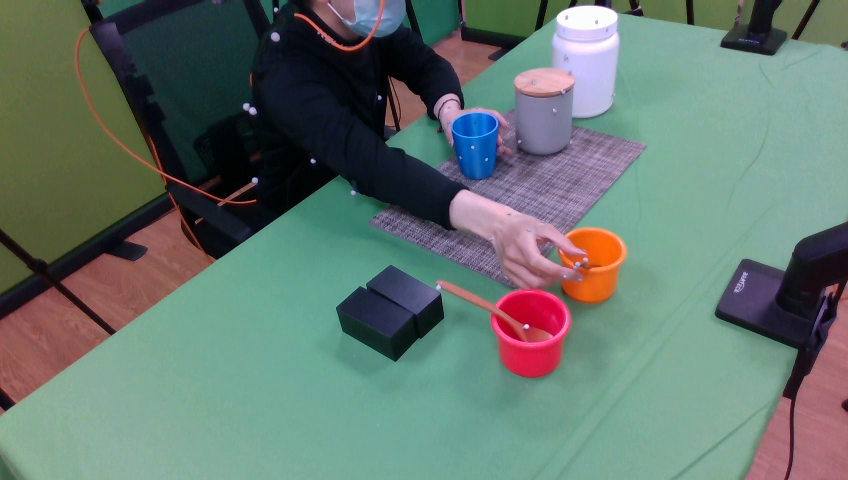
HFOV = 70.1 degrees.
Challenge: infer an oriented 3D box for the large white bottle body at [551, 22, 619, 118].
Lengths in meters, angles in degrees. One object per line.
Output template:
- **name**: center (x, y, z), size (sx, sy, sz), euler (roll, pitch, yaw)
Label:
- **large white bottle body**: center (0.321, -0.355, 1.218), size (0.130, 0.185, 0.130), euler (-4, 41, 4)

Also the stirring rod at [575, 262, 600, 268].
- **stirring rod**: center (0.222, 0.033, 0.816), size (0.014, 0.006, 0.177), euler (9, 1, 22)

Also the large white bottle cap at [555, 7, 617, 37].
- **large white bottle cap**: center (0.311, -0.420, 1.163), size (0.115, 0.018, 0.114), euler (-4, 40, 4)

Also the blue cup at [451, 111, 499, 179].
- **blue cup**: center (0.095, -0.167, 1.091), size (0.092, 0.101, 0.092), euler (-5, 42, 5)

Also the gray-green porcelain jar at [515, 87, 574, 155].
- **gray-green porcelain jar**: center (0.224, -0.232, 1.129), size (0.106, 0.127, 0.105), euler (-4, 40, 4)

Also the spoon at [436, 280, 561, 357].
- **spoon**: center (0.096, 0.095, 0.757), size (0.195, 0.021, 0.041), euler (34, 42, -20)

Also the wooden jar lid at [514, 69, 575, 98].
- **wooden jar lid**: center (0.217, -0.279, 1.088), size (0.108, 0.021, 0.108), euler (-3, 38, 3)
